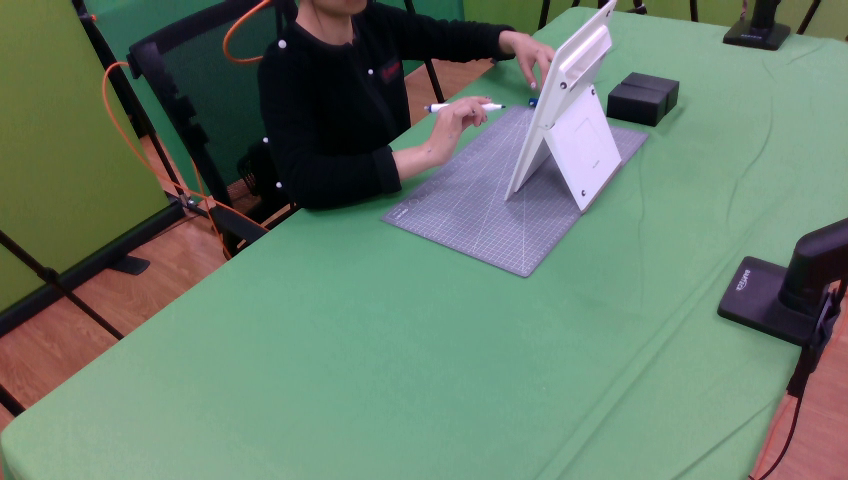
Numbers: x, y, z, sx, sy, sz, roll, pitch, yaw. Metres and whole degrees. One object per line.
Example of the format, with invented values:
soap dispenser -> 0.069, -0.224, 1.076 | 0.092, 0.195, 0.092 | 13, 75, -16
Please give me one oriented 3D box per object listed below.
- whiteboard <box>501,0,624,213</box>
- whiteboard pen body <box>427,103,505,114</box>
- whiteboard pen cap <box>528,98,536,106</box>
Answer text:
whiteboard -> 0.271, -0.189, 0.977 | 0.143, 0.306, 0.218 | 34, 53, 16
whiteboard pen body -> 0.075, -0.238, 1.088 | 0.140, 0.017, 0.017 | 1, 42, 12
whiteboard pen cap -> 0.239, -0.293, 1.288 | 0.033, 0.018, 0.018 | 23, 50, 35
